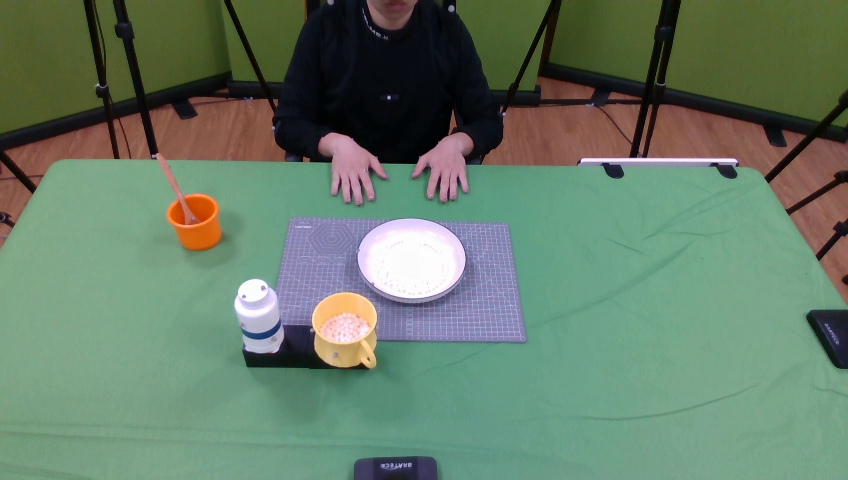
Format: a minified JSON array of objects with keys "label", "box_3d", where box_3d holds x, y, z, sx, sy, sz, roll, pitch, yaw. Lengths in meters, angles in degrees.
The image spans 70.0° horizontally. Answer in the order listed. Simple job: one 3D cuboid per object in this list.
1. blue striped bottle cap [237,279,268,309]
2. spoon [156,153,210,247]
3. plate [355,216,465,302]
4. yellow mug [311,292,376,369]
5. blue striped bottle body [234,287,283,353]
[{"label":"blue striped bottle cap","box_3d":[-0.252,0.078,0.892,0.044,0.021,0.044,4,47,-4]},{"label":"spoon","box_3d":[-0.458,-0.076,1.147,0.041,0.194,0.021,-26,10,-24]},{"label":"plate","box_3d":[-0.027,0.039,1.144,0.208,0.039,0.206,2,46,-2]},{"label":"yellow mug","box_3d":[-0.115,0.149,0.945,0.100,0.064,0.130,-30,57,-28]},{"label":"blue striped bottle body","box_3d":[-0.254,0.114,0.929,0.063,0.121,0.062,2,46,-2]}]
